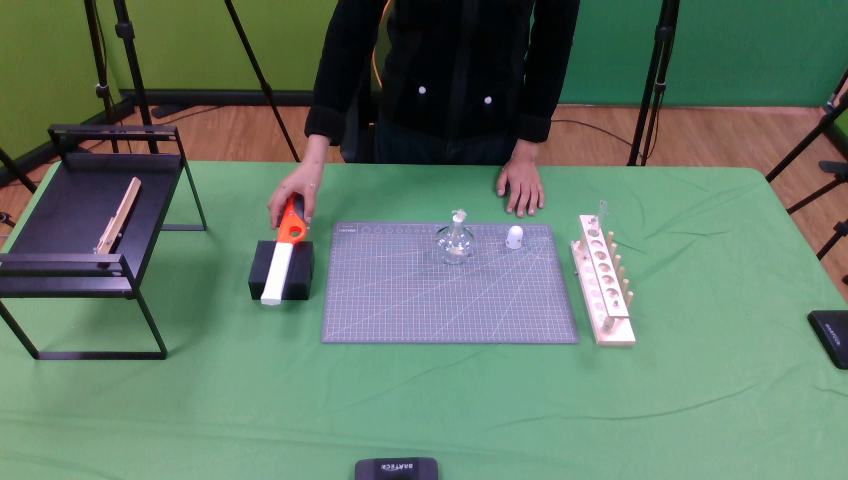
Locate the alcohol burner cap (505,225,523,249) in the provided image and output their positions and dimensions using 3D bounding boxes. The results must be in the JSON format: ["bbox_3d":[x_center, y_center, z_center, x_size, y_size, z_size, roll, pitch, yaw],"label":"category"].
[{"bbox_3d":[0.180,-0.009,1.203,0.034,0.048,0.033,2,46,-2],"label":"alcohol burner cap"}]

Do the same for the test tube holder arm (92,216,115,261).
[{"bbox_3d":[-0.479,-0.004,0.917,0.010,0.015,0.087,-18,44,20],"label":"test tube holder arm"}]

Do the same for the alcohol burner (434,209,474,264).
[{"bbox_3d":[0.058,-0.011,1.147,0.078,0.119,0.077,3,44,-3],"label":"alcohol burner"}]

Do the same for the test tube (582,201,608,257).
[{"bbox_3d":[0.316,-0.017,1.127,0.017,0.151,0.017,1,51,-1],"label":"test tube"}]

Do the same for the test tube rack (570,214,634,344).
[{"bbox_3d":[0.333,0.067,1.116,0.067,0.085,0.241,1,46,-3],"label":"test tube rack"}]

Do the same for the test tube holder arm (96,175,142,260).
[{"bbox_3d":[-0.473,-0.039,0.946,0.013,0.015,0.177,-18,43,19],"label":"test tube holder arm"}]

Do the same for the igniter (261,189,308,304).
[{"bbox_3d":[-0.253,0.002,1.109,0.057,0.025,0.275,5,47,-3],"label":"igniter"}]
